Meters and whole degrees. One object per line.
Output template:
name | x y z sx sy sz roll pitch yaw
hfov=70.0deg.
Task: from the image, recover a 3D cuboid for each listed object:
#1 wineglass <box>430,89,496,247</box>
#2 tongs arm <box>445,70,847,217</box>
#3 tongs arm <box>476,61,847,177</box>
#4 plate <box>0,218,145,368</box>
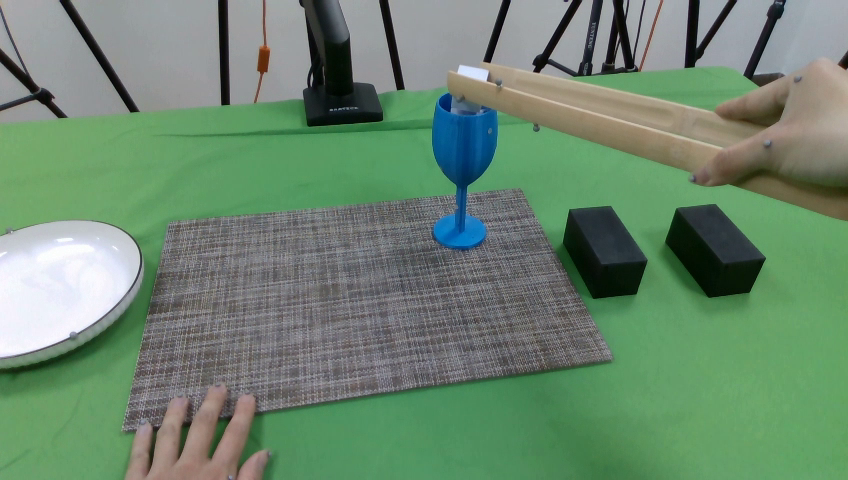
wineglass | 0.041 -0.079 0.681 0.074 0.174 0.073 0 40 0
tongs arm | 0.160 -0.092 0.488 0.051 0.027 0.381 -24 38 -32
tongs arm | 0.182 -0.104 0.504 0.028 0.028 0.383 -23 37 -36
plate | -0.395 0.053 0.624 0.209 0.038 0.207 1 40 0
